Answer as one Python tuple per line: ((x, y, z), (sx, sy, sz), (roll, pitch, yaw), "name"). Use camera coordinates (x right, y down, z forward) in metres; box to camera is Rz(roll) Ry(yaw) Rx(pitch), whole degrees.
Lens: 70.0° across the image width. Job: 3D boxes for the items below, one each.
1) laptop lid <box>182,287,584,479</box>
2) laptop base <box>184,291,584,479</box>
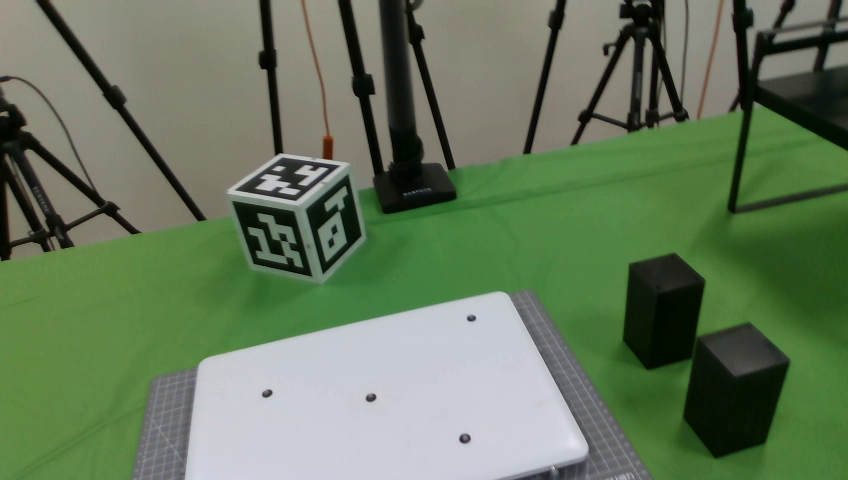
((-0.053, 0.153, 0.591), (0.357, 0.013, 0.239), (-11, 36, -6), "laptop lid")
((-0.052, 0.162, 0.600), (0.355, 0.023, 0.233), (-12, 37, -7), "laptop base")
